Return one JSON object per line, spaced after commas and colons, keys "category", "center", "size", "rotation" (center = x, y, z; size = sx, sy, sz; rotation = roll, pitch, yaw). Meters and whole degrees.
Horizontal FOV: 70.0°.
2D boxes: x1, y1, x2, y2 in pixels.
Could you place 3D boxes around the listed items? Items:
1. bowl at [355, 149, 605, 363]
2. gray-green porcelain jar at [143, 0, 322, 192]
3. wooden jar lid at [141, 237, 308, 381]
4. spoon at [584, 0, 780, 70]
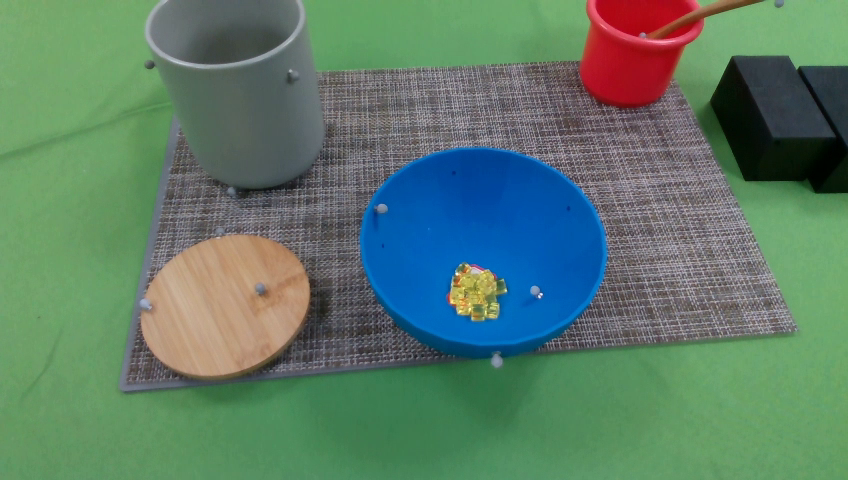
{"category": "bowl", "center": [0.033, 0.021, 0.395], "size": [0.151, 0.077, 0.150], "rotation": [1, 54, -1]}
{"category": "gray-green porcelain jar", "center": [-0.134, -0.107, 0.454], "size": [0.106, 0.127, 0.105], "rotation": [1, 54, -1]}
{"category": "wooden jar lid", "center": [-0.132, 0.046, 0.408], "size": [0.108, 0.021, 0.107], "rotation": [0, 53, 0]}
{"category": "spoon", "center": [0.219, -0.178, 0.503], "size": [0.022, 0.193, 0.041], "rotation": [50, 56, -22]}
